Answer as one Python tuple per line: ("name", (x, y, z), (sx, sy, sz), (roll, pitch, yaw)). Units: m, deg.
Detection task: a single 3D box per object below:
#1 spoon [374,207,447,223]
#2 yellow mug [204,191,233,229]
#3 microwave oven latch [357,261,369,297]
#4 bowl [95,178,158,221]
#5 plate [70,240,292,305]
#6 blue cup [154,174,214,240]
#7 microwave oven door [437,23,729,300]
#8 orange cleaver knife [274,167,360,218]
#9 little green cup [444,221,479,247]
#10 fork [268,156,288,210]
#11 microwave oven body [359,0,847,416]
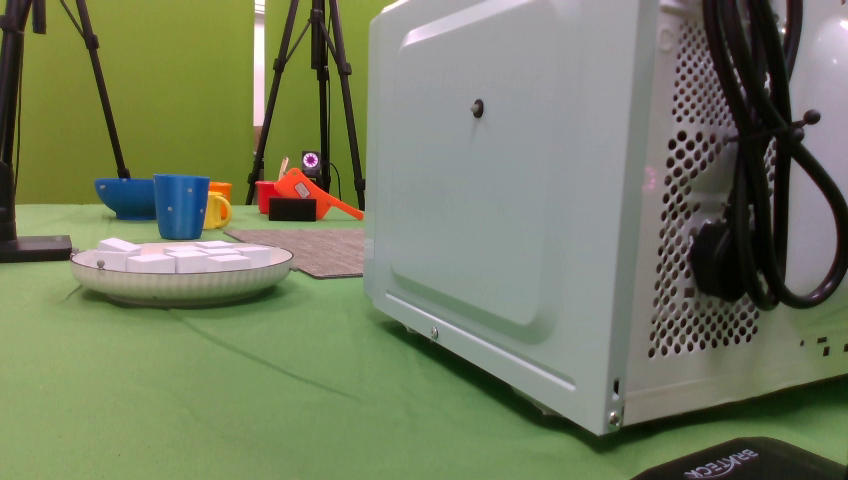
("spoon", (-0.020, -0.052, 1.157), (0.195, 0.021, 0.041), (-12, 32, -44))
("yellow mug", (-0.415, -0.057, 1.132), (0.130, 0.064, 0.100), (6, 8, 16))
("microwave oven latch", (-0.019, 0.033, 0.530), (0.079, 0.029, 0.030), (-1, 7, -26))
("bowl", (-0.576, -0.081, 1.217), (0.151, 0.077, 0.151), (3, 8, 0))
("plate", (-0.242, 0.031, 0.618), (0.208, 0.039, 0.207), (2, 8, 0))
("blue cup", (-0.390, -0.053, 0.978), (0.093, 0.100, 0.092), (3, 6, 0))
("microwave oven door", (0.181, -0.072, 0.621), (0.358, 0.243, 0.039), (-2, 9, -29))
("orange cleaver knife", (-0.238, -0.091, 1.381), (0.212, 0.077, 0.012), (31, 0, -19))
("little green cup", (0.064, -0.010, 1.034), (0.061, 0.038, 0.061), (1, 9, 0))
("fork", (-0.360, -0.144, 1.507), (0.028, 0.018, 0.207), (1, 49, 0))
("microwave oven body", (0.211, -0.047, 0.474), (0.444, 0.260, 0.324), (-1, 7, -28))
